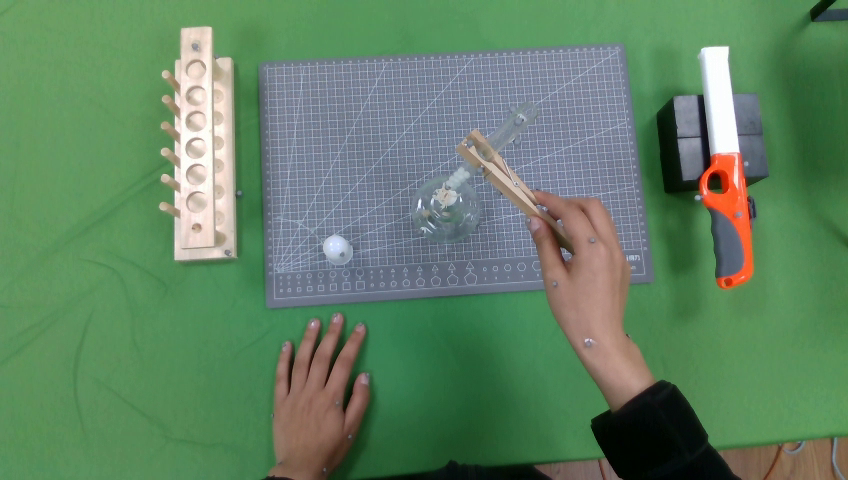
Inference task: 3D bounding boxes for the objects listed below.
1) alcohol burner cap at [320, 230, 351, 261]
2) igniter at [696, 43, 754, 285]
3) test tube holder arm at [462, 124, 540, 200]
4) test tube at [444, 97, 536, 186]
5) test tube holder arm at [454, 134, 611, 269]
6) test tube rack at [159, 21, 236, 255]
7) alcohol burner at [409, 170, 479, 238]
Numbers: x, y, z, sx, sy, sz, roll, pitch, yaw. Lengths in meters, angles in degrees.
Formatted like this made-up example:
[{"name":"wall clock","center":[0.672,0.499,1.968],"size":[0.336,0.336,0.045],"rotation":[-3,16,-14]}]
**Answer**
[{"name":"alcohol burner cap","center":[-0.101,0.004,0.682],"size":[0.034,0.048,0.033],"rotation":[0,80,-1]},{"name":"igniter","center":[0.331,-0.087,0.675],"size":[0.057,0.025,0.275],"rotation":[-1,80,4]},{"name":"test tube holder arm","center":[0.068,-0.065,0.532],"size":[0.088,0.015,0.010],"rotation":[47,58,-6]},{"name":"test tube","center":[0.052,-0.079,0.521],"size":[0.017,0.150,0.017],"rotation":[7,70,-20]},{"name":"test tube holder arm","center":[0.098,-0.032,0.536],"size":[0.179,0.015,0.013],"rotation":[40,60,-10]},{"name":"test tube rack","center":[-0.257,-0.110,0.676],"size":[0.067,0.085,0.241],"rotation":[-3,81,-2]},{"name":"alcohol burner","center":[0.022,-0.042,0.658],"size":[0.078,0.119,0.077],"rotation":[0,82,0]}]
